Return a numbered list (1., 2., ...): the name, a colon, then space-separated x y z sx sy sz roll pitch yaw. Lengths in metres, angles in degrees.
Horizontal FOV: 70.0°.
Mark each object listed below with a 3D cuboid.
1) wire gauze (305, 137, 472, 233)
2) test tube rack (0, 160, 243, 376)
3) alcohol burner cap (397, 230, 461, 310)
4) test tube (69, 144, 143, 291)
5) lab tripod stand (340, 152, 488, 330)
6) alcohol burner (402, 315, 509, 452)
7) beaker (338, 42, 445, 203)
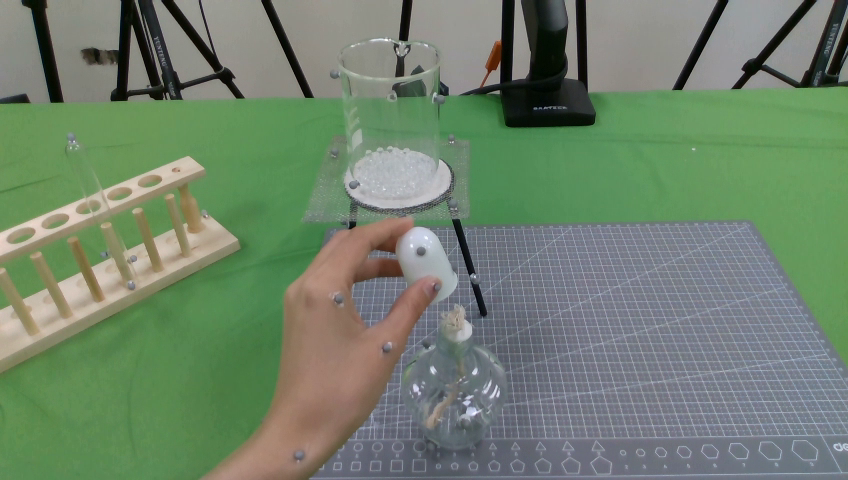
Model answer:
1. wire gauze: -0.023 -0.047 0.480 0.121 0.011 0.124 1 41 3
2. test tube rack: -0.299 0.019 0.559 0.242 0.086 0.066 -31 47 -31
3. alcohol burner cap: 0.002 0.015 0.367 0.034 0.048 0.033 -12 39 11
4. test tube: -0.276 -0.015 0.529 0.017 0.151 0.017 -1 38 1
5. lab tripod stand: -0.013 0.003 0.523 0.148 0.132 0.147 0 38 0
6. alcohol burner: 0.022 0.094 0.424 0.078 0.120 0.077 -1 41 1
7. beaker: -0.022 -0.087 0.451 0.074 0.101 0.083 7 39 8
